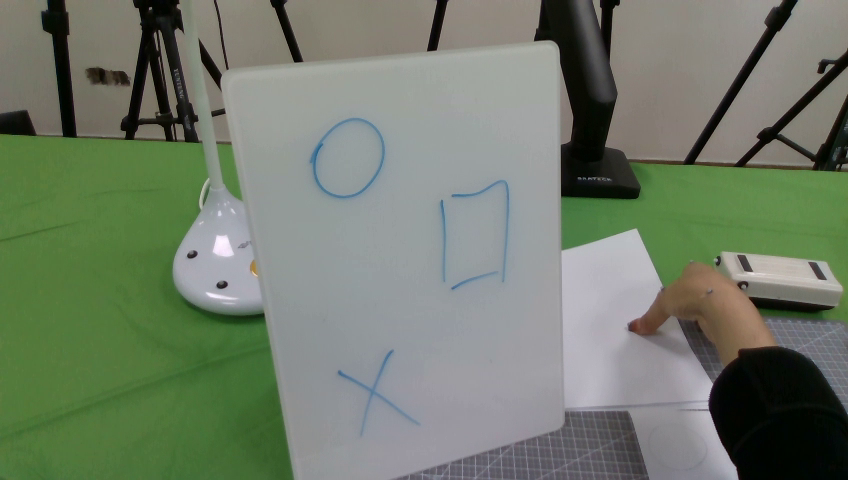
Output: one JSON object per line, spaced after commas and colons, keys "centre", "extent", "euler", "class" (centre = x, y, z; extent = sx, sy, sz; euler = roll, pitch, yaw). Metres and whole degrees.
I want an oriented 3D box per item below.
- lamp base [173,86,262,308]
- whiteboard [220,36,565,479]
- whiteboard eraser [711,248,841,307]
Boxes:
{"centre": [-0.188, -0.051, 0.603], "extent": [0.177, 0.182, 0.161], "euler": [29, 44, 34], "class": "lamp base"}
{"centre": [-0.020, 0.010, 0.477], "extent": [0.218, 0.307, 0.142], "euler": [-10, 19, -15], "class": "whiteboard"}
{"centre": [0.365, 0.040, 0.635], "extent": [0.112, 0.042, 0.055], "euler": [7, 37, 5], "class": "whiteboard eraser"}
